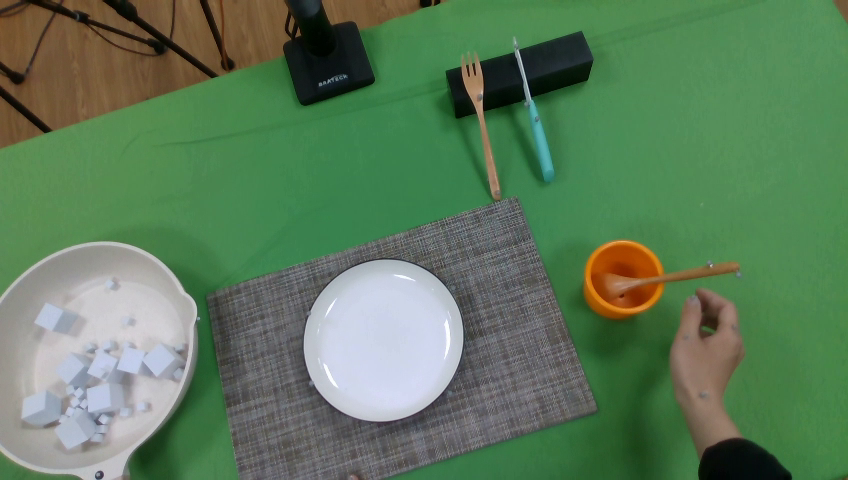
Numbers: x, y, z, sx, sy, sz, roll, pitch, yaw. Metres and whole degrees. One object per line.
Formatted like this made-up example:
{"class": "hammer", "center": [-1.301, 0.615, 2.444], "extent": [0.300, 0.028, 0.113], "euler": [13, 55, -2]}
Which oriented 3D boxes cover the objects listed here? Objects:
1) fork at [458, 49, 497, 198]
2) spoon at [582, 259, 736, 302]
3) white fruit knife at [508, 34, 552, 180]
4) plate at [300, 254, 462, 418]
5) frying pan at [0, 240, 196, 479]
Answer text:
{"class": "fork", "center": [0.076, -0.159, 0.835], "extent": [0.028, 0.018, 0.207], "euler": [-12, 90, -6]}
{"class": "spoon", "center": [0.267, 0.042, 0.712], "extent": [0.193, 0.022, 0.041], "euler": [-16, 70, 43]}
{"class": "white fruit knife", "center": [0.143, -0.185, 0.836], "extent": [0.016, 0.027, 0.207], "euler": [-15, 87, -1]}
{"class": "plate", "center": [-0.054, 0.121, 0.776], "extent": [0.207, 0.039, 0.206], "euler": [-2, 72, 5]}
{"class": "frying pan", "center": [-0.396, 0.232, 0.741], "extent": [0.307, 0.103, 0.483], "euler": [-21, 63, -1]}
